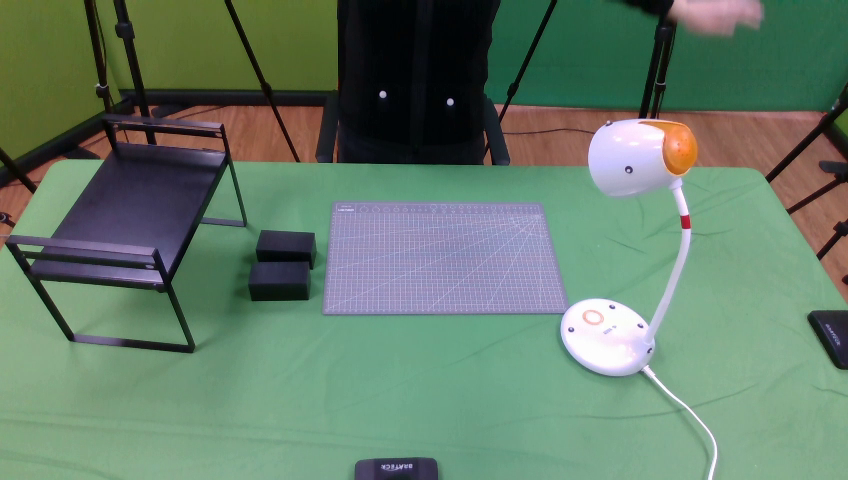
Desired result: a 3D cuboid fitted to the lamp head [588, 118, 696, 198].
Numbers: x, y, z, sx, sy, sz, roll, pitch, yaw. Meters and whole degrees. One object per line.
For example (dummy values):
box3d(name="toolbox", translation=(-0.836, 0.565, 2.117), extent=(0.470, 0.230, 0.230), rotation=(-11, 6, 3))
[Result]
box3d(name="lamp head", translation=(0.304, -0.113, 0.823), extent=(0.112, 0.112, 0.122), rotation=(-26, 16, -26))

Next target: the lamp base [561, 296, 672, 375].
box3d(name="lamp base", translation=(0.332, 0.119, 0.995), extent=(0.160, 0.181, 0.178), rotation=(-34, 59, -30))
